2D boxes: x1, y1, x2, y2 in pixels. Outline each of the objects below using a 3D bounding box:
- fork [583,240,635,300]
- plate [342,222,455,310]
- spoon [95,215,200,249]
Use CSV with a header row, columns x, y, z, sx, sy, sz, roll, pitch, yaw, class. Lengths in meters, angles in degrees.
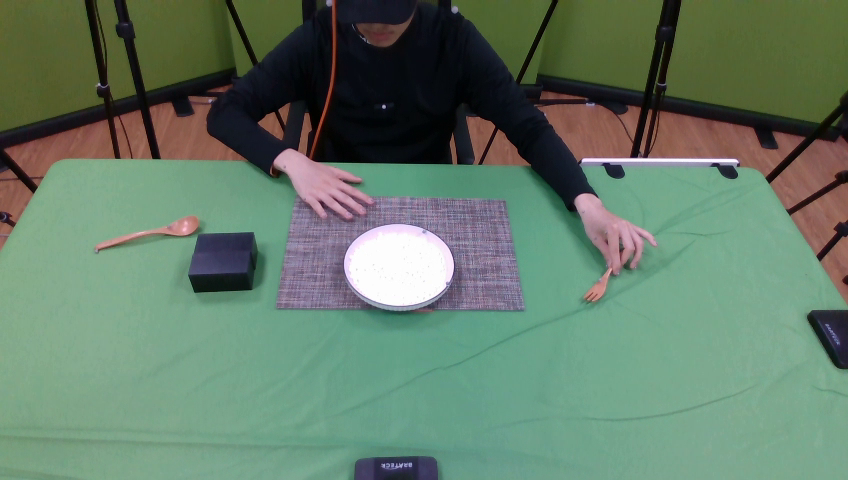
x,y,z,sx,sy,sz,roll,pitch,yaw,class
0.363,0.055,1.172,0.028,0.019,0.207,16,45,37,fork
-0.047,0.052,1.127,0.209,0.038,0.208,2,46,-2,plate
-0.531,-0.014,1.168,0.194,0.022,0.041,-13,65,-16,spoon
